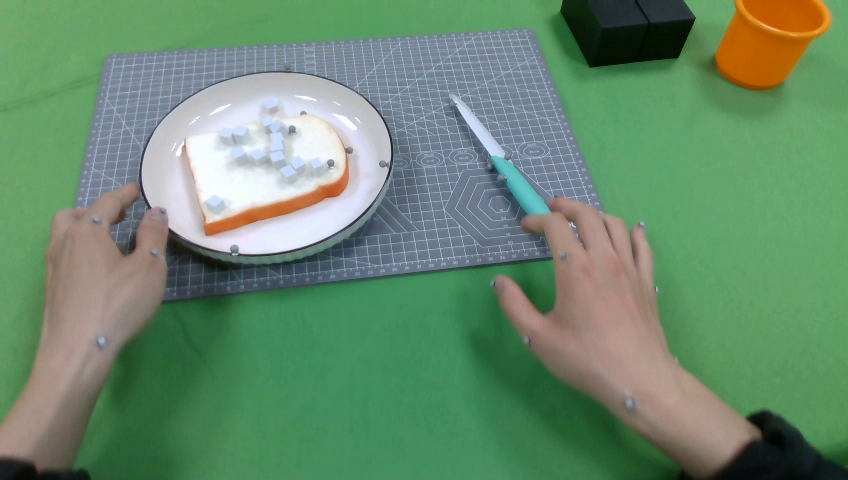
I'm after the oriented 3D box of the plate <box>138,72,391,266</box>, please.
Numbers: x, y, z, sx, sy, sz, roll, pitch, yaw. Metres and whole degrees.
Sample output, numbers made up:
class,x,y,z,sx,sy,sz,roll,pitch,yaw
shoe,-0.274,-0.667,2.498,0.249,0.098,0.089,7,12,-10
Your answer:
class,x,y,z,sx,sy,sz,roll,pitch,yaw
plate,-0.132,-0.062,0.521,0.209,0.038,0.207,2,56,-2

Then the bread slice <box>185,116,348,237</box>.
class,x,y,z,sx,sy,sz,roll,pitch,yaw
bread slice,-0.135,-0.065,0.525,0.132,0.019,0.104,-19,59,-15

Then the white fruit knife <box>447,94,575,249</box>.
class,x,y,z,sx,sy,sz,roll,pitch,yaw
white fruit knife,0.070,-0.069,0.551,0.027,0.016,0.205,-1,47,-40
